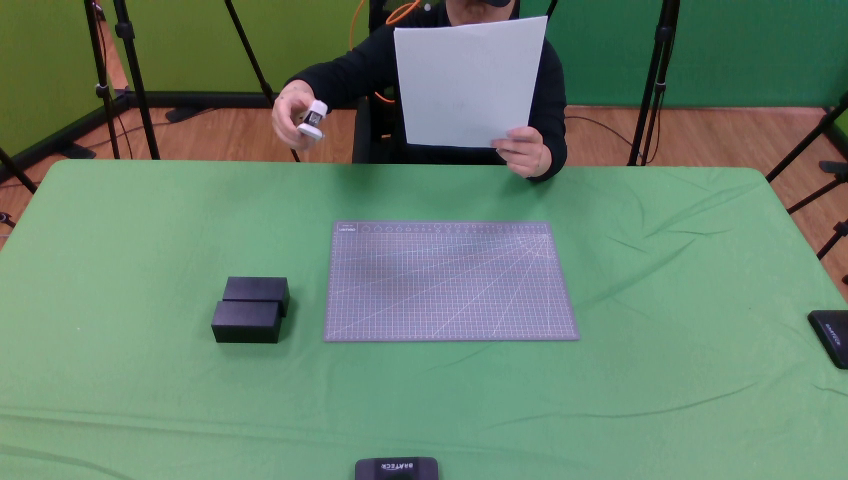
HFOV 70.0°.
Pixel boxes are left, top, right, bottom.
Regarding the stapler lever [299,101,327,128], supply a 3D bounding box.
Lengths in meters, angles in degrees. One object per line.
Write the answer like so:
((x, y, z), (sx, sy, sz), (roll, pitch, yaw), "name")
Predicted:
((-0.193, -0.209, 1.040), (0.027, 0.118, 0.040), (26, 84, -18), "stapler lever")

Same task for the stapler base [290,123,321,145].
((-0.201, -0.187, 1.037), (0.041, 0.130, 0.024), (26, 83, -18), "stapler base")
